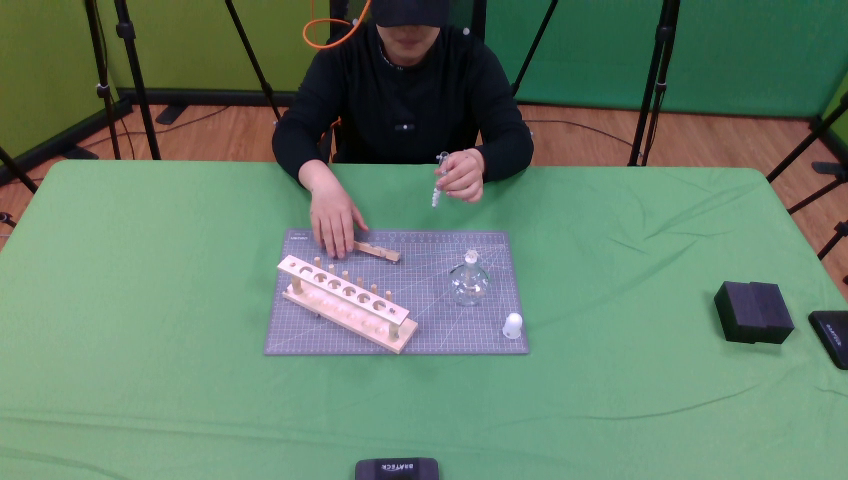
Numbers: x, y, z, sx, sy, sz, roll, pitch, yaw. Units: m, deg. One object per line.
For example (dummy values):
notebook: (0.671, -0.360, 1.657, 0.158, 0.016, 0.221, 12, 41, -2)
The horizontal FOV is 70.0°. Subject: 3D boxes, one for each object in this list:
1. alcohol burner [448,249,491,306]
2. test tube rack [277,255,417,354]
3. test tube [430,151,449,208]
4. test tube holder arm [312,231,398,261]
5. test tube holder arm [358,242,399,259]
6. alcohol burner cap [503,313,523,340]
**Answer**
alcohol burner: (0.081, 0.062, 1.078, 0.078, 0.120, 0.077, 1, 45, -1)
test tube rack: (-0.131, 0.099, 1.045, 0.241, 0.085, 0.066, 23, 49, 17)
test tube: (0.027, -0.107, 1.102, 0.017, 0.151, 0.017, 4, 56, -5)
test tube holder arm: (-0.134, 0.011, 1.175, 0.178, 0.015, 0.013, 15, 13, 11)
test tube holder arm: (-0.090, 0.022, 1.172, 0.087, 0.015, 0.010, 15, 13, 12)
alcohol burner cap: (0.156, 0.148, 1.051, 0.034, 0.048, 0.033, 1, 45, -1)
